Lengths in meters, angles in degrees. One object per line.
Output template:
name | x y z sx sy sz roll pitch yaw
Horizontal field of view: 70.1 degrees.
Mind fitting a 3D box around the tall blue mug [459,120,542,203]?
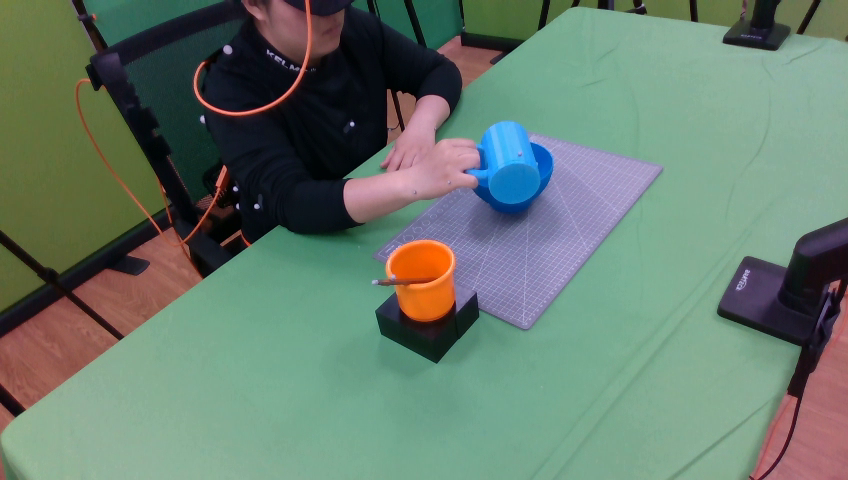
tall blue mug | 0.116 -0.123 0.903 0.108 0.077 0.107 20 39 -22

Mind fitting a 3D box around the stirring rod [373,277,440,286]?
stirring rod | -0.018 0.051 0.758 0.014 0.006 0.177 13 3 23

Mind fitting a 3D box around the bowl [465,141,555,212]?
bowl | 0.145 -0.100 1.025 0.151 0.077 0.150 -5 40 5
